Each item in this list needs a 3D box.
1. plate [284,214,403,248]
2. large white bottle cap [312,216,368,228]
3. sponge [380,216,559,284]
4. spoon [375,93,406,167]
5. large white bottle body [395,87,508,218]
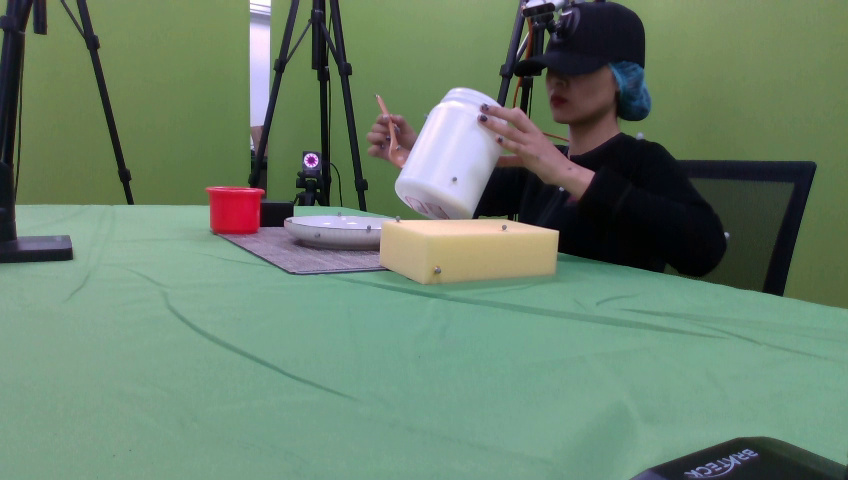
[{"bbox_3d":[-0.122,-0.015,0.984,0.209,0.038,0.209,2,7,0],"label":"plate"},{"bbox_3d":[-0.171,-0.038,1.234,0.115,0.018,0.115,1,5,0],"label":"large white bottle cap"},{"bbox_3d":[0.059,0.008,0.786,0.208,0.061,0.117,-3,11,-32],"label":"sponge"},{"bbox_3d":[-0.061,-0.204,1.114,0.042,0.193,0.021,17,-43,-43],"label":"spoon"},{"bbox_3d":[0.049,-0.132,0.947,0.130,0.184,0.130,23,-14,6],"label":"large white bottle body"}]
